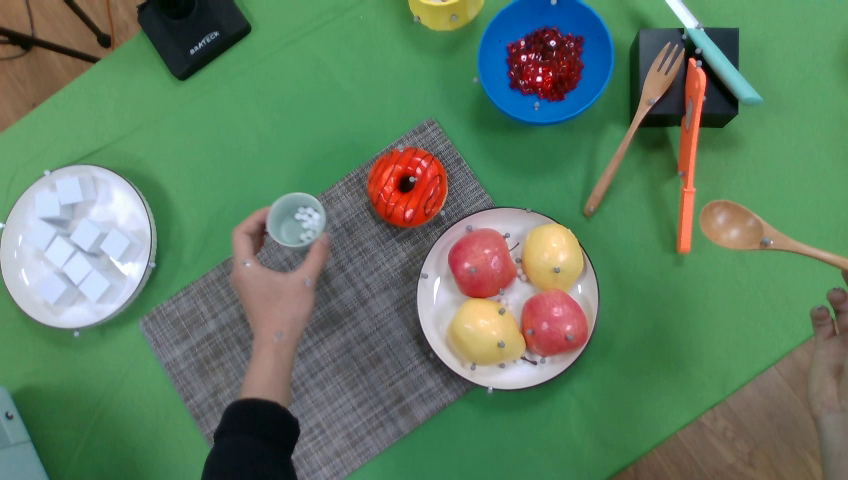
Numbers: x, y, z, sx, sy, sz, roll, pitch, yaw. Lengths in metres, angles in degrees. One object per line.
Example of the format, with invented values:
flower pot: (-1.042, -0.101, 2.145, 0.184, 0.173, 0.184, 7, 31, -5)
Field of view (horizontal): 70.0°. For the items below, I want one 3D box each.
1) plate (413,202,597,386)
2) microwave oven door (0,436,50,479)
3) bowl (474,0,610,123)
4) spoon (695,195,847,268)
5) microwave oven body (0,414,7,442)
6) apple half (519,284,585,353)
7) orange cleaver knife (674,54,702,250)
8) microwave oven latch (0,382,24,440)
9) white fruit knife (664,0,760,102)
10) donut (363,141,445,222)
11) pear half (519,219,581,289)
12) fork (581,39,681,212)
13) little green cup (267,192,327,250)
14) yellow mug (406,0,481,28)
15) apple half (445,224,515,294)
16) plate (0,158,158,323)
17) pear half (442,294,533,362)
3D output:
plate: (0.092, 0.061, 0.699, 0.209, 0.038, 0.208, -1, 83, 6)
microwave oven door: (-0.423, 0.381, 0.604, 0.039, 0.244, 0.354, -32, 81, 2)
bowl: (0.134, -0.202, 0.707, 0.151, 0.077, 0.151, -1, 84, 6)
spoon: (0.321, 0.010, 0.497, 0.192, 0.022, 0.041, 24, 80, 24)
microwave oven body: (-0.568, 0.423, 0.621, 0.326, 0.261, 0.440, -32, 82, 2)
apple half: (0.135, 0.089, 0.673, 0.081, 0.033, 0.081, 2, 95, 27)
orange cleaver knife: (0.290, -0.096, 0.675, 0.012, 0.077, 0.212, 1, 109, 12)
microwave oven latch: (-0.522, 0.208, 0.737, 0.030, 0.029, 0.079, -30, 82, 2)
white fruit knife: (0.300, -0.235, 0.673, 0.027, 0.016, 0.206, -28, 78, -27)
donut: (-0.024, -0.070, 0.723, 0.099, 0.048, 0.099, -1, 85, 9)
pear half: (0.138, 0.021, 0.683, 0.070, 0.031, 0.088, -6, 93, 30)
fork: (0.228, -0.124, 0.683, 0.028, 0.018, 0.208, 24, 107, 1)
little green cup: (-0.134, -0.018, 0.656, 0.061, 0.039, 0.061, -1, 79, 3)
yellow mug: (0.006, -0.327, 0.741, 0.130, 0.064, 0.100, 23, 87, 10)
apple half: (0.062, 0.022, 0.689, 0.074, 0.053, 0.080, -17, 85, 5)
plate: (-0.432, 0.002, 0.769, 0.207, 0.039, 0.207, -1, 84, 7)
pear half: (0.077, 0.107, 0.682, 0.110, 0.056, 0.076, 28, 92, 1)
